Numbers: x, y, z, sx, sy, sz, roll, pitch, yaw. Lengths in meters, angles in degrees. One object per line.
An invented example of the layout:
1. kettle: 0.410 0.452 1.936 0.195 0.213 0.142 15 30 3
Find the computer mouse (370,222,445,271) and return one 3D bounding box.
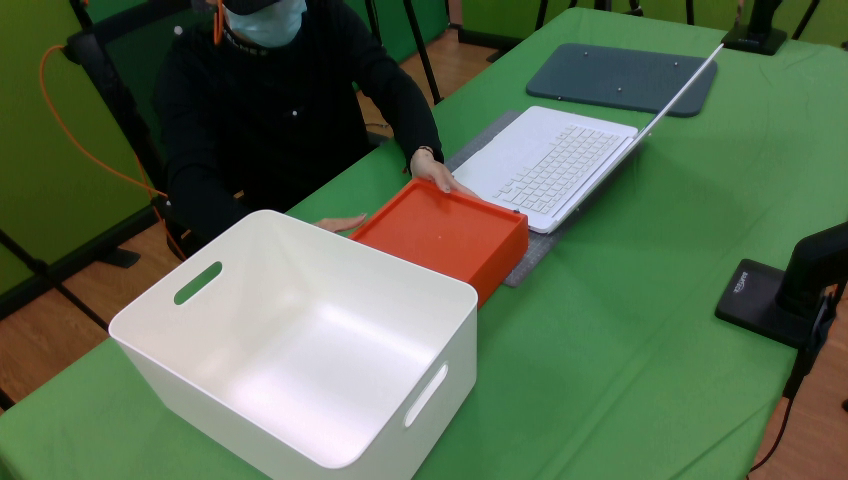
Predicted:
1. computer mouse: -0.026 0.002 0.937 0.118 0.041 0.062 -29 40 -34

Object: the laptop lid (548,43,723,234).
1. laptop lid: 0.336 -0.160 0.956 0.013 0.241 0.358 43 54 8

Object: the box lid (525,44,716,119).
1. box lid: 0.432 -0.360 1.341 0.369 0.015 0.263 16 45 24

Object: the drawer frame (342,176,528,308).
1. drawer frame: 0.015 0.010 0.906 0.212 0.083 0.202 22 50 29

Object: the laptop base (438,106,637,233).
1. laptop base: 0.210 -0.142 1.111 0.233 0.023 0.355 21 48 34

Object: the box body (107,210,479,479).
1. box body: -0.140 0.136 0.725 0.361 0.161 0.254 19 47 28

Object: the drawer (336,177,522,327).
1. drawer: 0.011 0.010 0.910 0.210 0.073 0.195 22 50 30
